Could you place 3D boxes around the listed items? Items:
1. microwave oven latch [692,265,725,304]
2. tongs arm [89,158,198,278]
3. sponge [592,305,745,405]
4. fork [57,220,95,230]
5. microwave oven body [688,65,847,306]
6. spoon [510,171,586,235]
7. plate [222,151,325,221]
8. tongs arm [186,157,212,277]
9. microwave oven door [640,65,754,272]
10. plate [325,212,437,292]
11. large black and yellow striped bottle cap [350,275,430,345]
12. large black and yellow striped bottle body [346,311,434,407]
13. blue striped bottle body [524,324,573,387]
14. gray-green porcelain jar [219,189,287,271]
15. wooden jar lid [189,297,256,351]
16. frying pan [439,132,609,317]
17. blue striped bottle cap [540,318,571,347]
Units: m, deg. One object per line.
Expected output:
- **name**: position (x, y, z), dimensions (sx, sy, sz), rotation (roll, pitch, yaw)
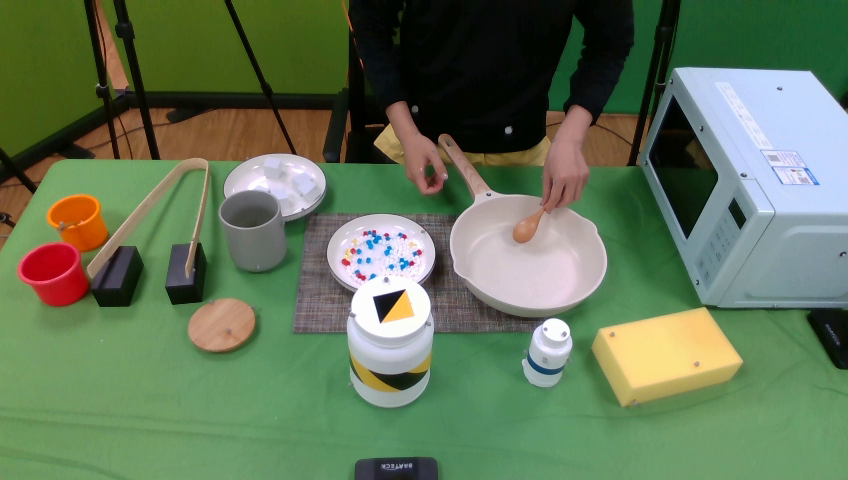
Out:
- **microwave oven latch**: position (0.522, 0.081, 1.116), dimensions (0.030, 0.029, 0.078), rotation (1, 46, -2)
- **tongs arm**: position (-0.529, -0.057, 1.164), dimensions (0.028, 0.028, 0.385), rotation (1, 36, 8)
- **sponge**: position (0.405, 0.190, 1.014), dimensions (0.207, 0.061, 0.117), rotation (-10, 48, -12)
- **fork**: position (-0.624, -0.027, 1.086), dimensions (0.028, 0.207, 0.018), rotation (-3, 92, -17)
- **microwave oven body**: position (0.669, -0.111, 1.176), dimensions (0.326, 0.261, 0.439), rotation (0, 46, -3)
- **spoon**: position (0.245, -0.075, 1.193), dimensions (0.194, 0.042, 0.021), rotation (-34, 47, -3)
- **plate**: position (-0.310, -0.106, 1.263), dimensions (0.208, 0.039, 0.206), rotation (2, 47, -2)
- **tongs arm**: position (-0.445, -0.058, 1.168), dimensions (0.051, 0.026, 0.382), rotation (-5, 37, -6)
- **microwave oven door**: position (0.524, -0.148, 1.193), dimensions (0.039, 0.245, 0.353), rotation (0, 47, -3)
- **plate**: position (-0.080, 0.030, 1.143), dimensions (0.209, 0.038, 0.208), rotation (2, 46, -2)
- **large black and yellow striped bottle cap**: position (-0.048, 0.097, 0.868), dimensions (0.115, 0.019, 0.114), rotation (3, 48, -3)
- **large black and yellow striped bottle body**: position (-0.052, 0.157, 0.929), dimensions (0.131, 0.185, 0.130), rotation (2, 47, -2)
- **blue striped bottle body**: position (0.200, 0.178, 0.970), dimensions (0.063, 0.121, 0.062), rotation (2, 46, -2)
- **gray-green porcelain jar**: position (-0.310, -0.014, 1.113), dimensions (0.106, 0.127, 0.105), rotation (2, 46, -2)
- **wooden jar lid**: position (-0.342, 0.145, 1.033), dimensions (0.108, 0.021, 0.107), rotation (2, 45, -2)
- **frying pan**: position (0.149, -0.049, 1.189), dimensions (0.307, 0.103, 0.484), rotation (-17, 58, -20)
- **blue striped bottle cap**: position (0.203, 0.142, 0.933), dimensions (0.044, 0.021, 0.044), rotation (3, 49, -3)
